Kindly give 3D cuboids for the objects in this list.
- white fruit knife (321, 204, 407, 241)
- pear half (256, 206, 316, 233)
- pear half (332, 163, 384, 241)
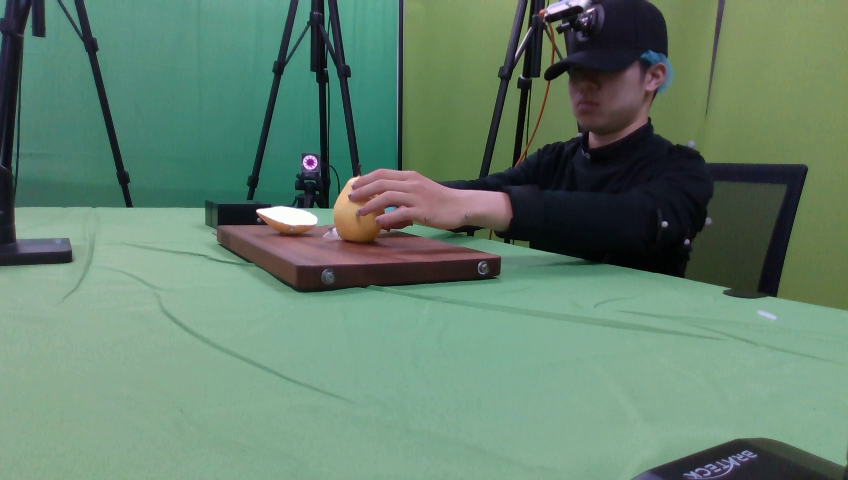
[{"bbox_3d":[-0.085,-0.028,0.909,0.016,0.027,0.208,4,15,31],"label":"white fruit knife"},{"bbox_3d":[-0.205,-0.027,0.899,0.088,0.031,0.070,4,17,-15],"label":"pear half"},{"bbox_3d":[-0.085,-0.052,0.842,0.055,0.110,0.077,5,11,32],"label":"pear half"}]
